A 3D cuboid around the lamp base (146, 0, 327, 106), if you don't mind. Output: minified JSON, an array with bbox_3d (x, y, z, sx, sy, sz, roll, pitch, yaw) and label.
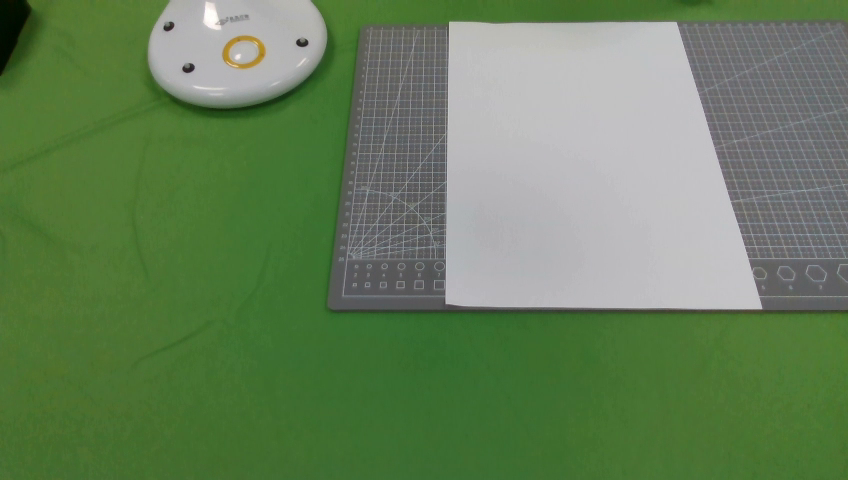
[{"bbox_3d":[-0.178,-0.232,0.491,0.161,0.182,0.177,-27,58,-15],"label":"lamp base"}]
